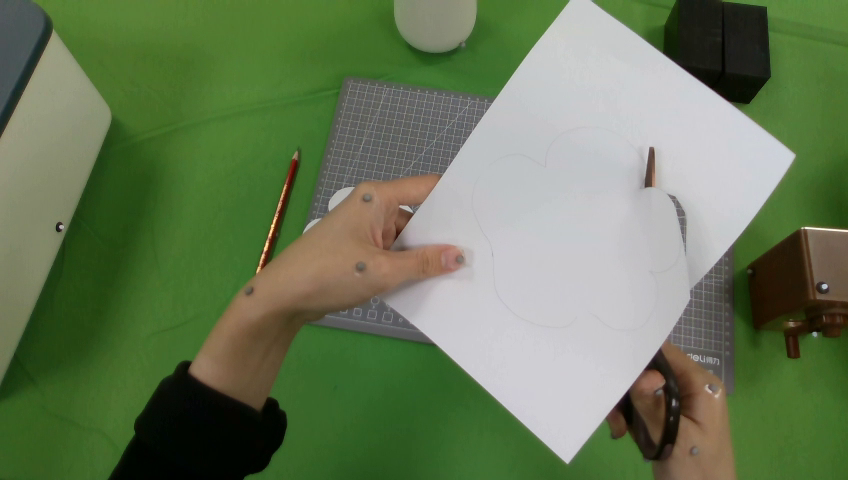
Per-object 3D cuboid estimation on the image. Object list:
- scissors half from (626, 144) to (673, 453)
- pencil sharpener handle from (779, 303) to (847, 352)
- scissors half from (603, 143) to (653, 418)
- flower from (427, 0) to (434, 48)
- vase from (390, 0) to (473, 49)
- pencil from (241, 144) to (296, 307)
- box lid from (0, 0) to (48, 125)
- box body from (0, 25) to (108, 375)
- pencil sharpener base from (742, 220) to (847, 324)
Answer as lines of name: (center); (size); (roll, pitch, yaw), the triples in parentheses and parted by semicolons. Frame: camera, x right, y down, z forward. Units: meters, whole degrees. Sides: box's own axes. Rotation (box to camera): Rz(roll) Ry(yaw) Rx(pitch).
scissors half: (0.125, 0.033, 0.340); (0.013, 0.040, 0.175); (-2, 88, -7)
pencil sharpener handle: (0.348, 0.080, 0.541); (0.036, 0.068, 0.030); (10, 68, -12)
scissors half: (0.124, 0.029, 0.362); (0.013, 0.039, 0.176); (-1, 114, -2)
flower: (0.001, -0.346, 0.581); (0.044, 0.365, 0.038); (2, 51, 5)
vase: (0.007, -0.303, 0.653); (0.098, 0.201, 0.097); (0, 67, 1)
pencil: (-0.163, -0.021, 0.647); (0.012, 0.012, 0.193); (10, 67, 4)
box lid: (-0.499, -0.074, 0.503); (0.263, 0.015, 0.369); (9, 69, 3)
box body: (-0.498, -0.044, 0.572); (0.254, 0.161, 0.361); (9, 69, 4)
pencil sharpener base: (0.356, 0.038, 0.571); (0.061, 0.108, 0.076); (4, 69, 2)
